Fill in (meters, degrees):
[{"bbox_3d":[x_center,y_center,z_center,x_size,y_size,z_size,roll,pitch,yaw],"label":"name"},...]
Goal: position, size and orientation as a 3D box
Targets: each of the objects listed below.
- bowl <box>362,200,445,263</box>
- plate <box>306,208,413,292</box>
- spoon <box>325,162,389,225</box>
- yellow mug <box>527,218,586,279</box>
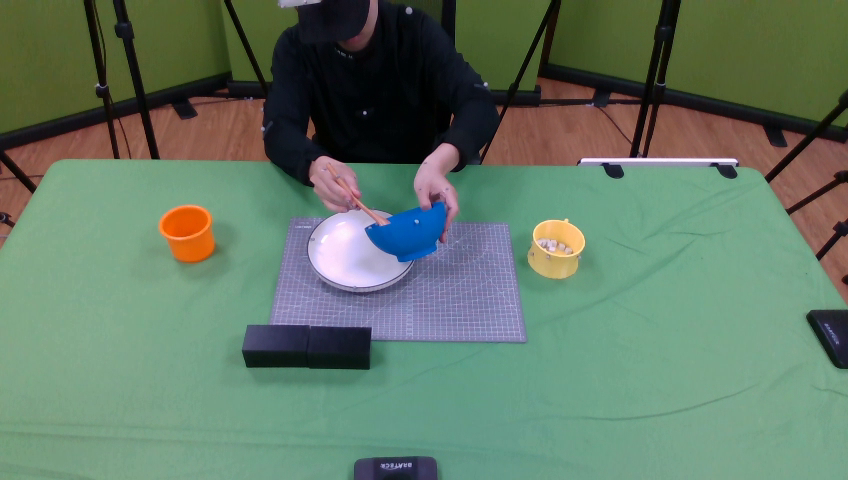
[{"bbox_3d":[-0.025,-0.009,1.070,0.151,0.077,0.151,-19,8,3],"label":"bowl"},{"bbox_3d":[-0.119,0.021,1.153,0.209,0.038,0.208,2,46,-2],"label":"plate"},{"bbox_3d":[-0.109,-0.062,1.066,0.194,0.021,0.041,45,24,-11],"label":"spoon"},{"bbox_3d":[0.261,0.006,1.181,0.100,0.064,0.130,18,47,14],"label":"yellow mug"}]
